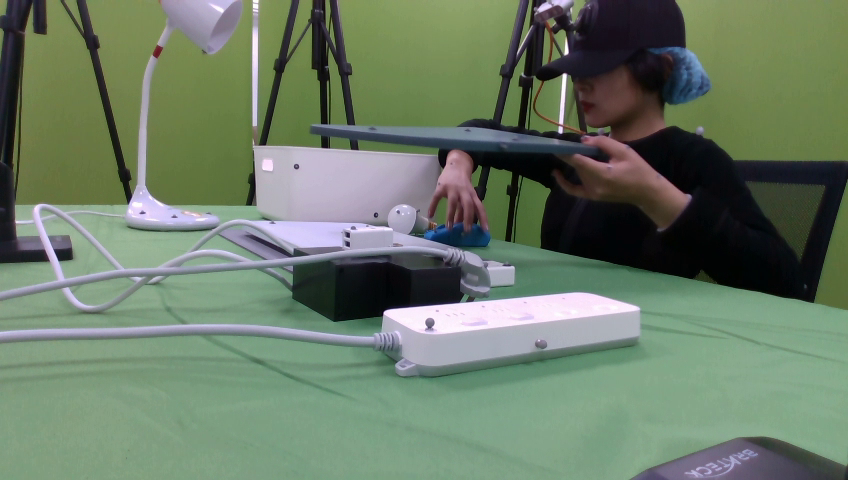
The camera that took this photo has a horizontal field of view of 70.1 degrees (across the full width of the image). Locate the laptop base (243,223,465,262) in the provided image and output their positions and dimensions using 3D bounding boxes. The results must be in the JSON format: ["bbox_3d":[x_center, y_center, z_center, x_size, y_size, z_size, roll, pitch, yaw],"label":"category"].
[{"bbox_3d":[-0.126,0.003,0.945,0.237,0.023,0.352,2,6,-31],"label":"laptop base"}]

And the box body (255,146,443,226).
[{"bbox_3d":[-0.169,-0.120,1.343,0.366,0.160,0.253,-2,8,-31],"label":"box body"}]

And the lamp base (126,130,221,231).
[{"bbox_3d":[-0.469,-0.112,1.108,0.179,0.180,0.160,0,7,3],"label":"lamp base"}]

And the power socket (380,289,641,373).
[{"bbox_3d":[0.072,0.064,0.461,0.228,0.032,0.072,-2,8,-30],"label":"power socket"}]

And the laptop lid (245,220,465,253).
[{"bbox_3d":[-0.124,-0.009,0.945,0.243,0.013,0.355,1,7,-29],"label":"laptop lid"}]

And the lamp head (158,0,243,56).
[{"bbox_3d":[-0.399,-0.397,1.057,0.123,0.112,0.112,27,5,-7],"label":"lamp head"}]

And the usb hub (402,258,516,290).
[{"bbox_3d":[0.041,0.038,0.690,0.126,0.025,0.049,-2,10,-30],"label":"usb hub"}]

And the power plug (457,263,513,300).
[{"bbox_3d":[0.053,0.051,0.543,0.035,0.052,0.072,3,37,-18],"label":"power plug"}]

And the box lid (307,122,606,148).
[{"bbox_3d":[0.054,-0.144,0.831,0.262,0.015,0.373,14,17,42],"label":"box lid"}]

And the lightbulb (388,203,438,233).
[{"bbox_3d":[-0.018,-0.034,1.161,0.108,0.059,0.059,16,0,-27],"label":"lightbulb"}]

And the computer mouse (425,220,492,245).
[{"bbox_3d":[0.060,-0.013,1.060,0.117,0.041,0.062,-3,10,-6],"label":"computer mouse"}]

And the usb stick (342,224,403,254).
[{"bbox_3d":[-0.047,-0.001,0.567,0.059,0.027,0.021,0,4,-33],"label":"usb stick"}]
